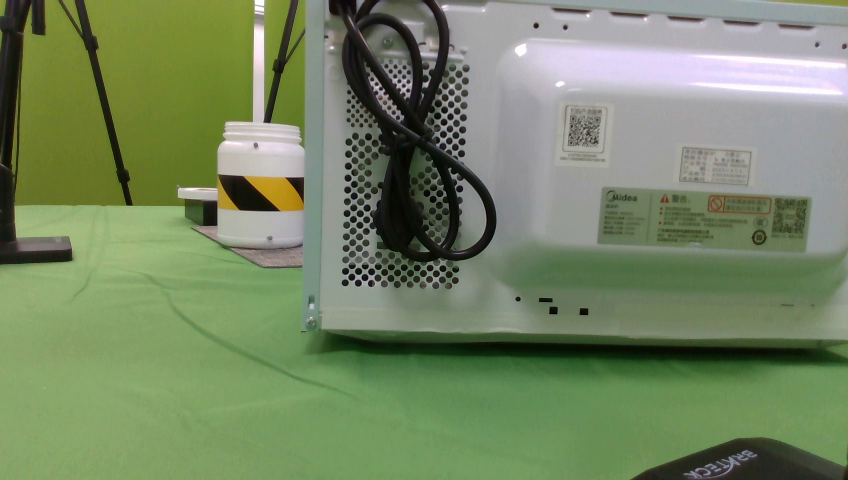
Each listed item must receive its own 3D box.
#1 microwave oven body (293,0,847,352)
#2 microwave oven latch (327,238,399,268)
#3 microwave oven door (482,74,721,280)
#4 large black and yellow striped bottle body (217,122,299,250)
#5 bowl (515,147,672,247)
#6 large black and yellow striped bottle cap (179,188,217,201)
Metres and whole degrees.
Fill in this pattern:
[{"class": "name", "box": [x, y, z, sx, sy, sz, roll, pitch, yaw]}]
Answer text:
[{"class": "microwave oven body", "box": [0.122, -0.055, 0.550, 0.442, 0.260, 0.325, 3, 7, -5]}, {"class": "microwave oven latch", "box": [-0.069, 0.015, 0.694, 0.079, 0.029, 0.030, 3, 7, -3]}, {"class": "microwave oven door", "box": [0.221, -0.093, 0.843, 0.039, 0.243, 0.354, -3, 9, -38]}, {"class": "large black and yellow striped bottle body", "box": [-0.250, -0.084, 0.931, 0.131, 0.184, 0.130, 2, 7, 0]}, {"class": "bowl", "box": [0.161, -0.036, 0.598, 0.151, 0.076, 0.151, 7, -3, 1]}, {"class": "large black and yellow striped bottle cap", "box": [-0.434, -0.093, 1.226, 0.115, 0.019, 0.115, 3, 9, 0]}]
